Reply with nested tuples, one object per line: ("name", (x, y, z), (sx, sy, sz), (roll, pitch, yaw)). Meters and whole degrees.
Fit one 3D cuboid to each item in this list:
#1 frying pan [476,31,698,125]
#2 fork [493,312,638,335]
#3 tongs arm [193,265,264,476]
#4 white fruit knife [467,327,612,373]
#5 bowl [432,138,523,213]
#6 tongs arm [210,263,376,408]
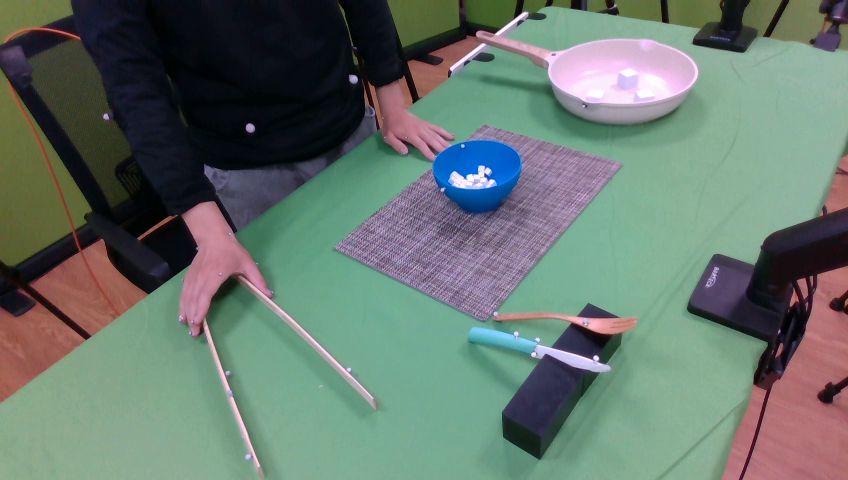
("frying pan", (0.321, -0.371, 1.290), (0.484, 0.103, 0.307), (29, 51, 23))
("fork", (0.173, 0.103, 0.774), (0.206, 0.019, 0.028), (0, 41, 40))
("tongs arm", (-0.260, 0.154, 0.816), (0.051, 0.026, 0.381), (-25, 42, -20))
("white fruit knife", (0.134, 0.134, 0.742), (0.205, 0.027, 0.016), (7, 34, 41))
("bowl", (0.091, -0.099, 1.021), (0.151, 0.077, 0.150), (-4, 41, 4))
("tongs arm", (-0.194, 0.121, 0.849), (0.028, 0.028, 0.384), (-38, 48, -27))
